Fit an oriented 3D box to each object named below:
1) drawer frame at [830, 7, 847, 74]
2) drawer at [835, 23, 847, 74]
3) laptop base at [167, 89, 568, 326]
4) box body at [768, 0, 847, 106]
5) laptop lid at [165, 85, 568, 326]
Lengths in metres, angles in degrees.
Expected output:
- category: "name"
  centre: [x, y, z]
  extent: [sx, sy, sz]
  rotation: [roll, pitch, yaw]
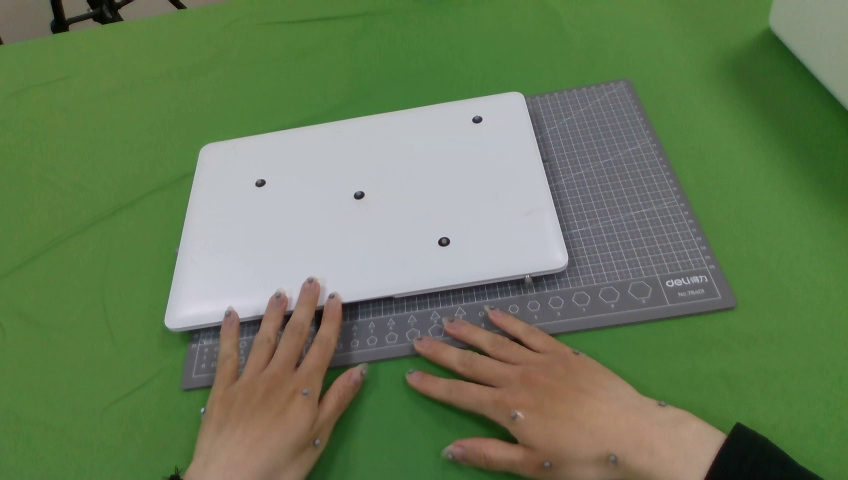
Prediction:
- category: "drawer frame"
  centre: [0.504, -0.142, 0.511]
  extent: [0.201, 0.083, 0.211]
  rotation: [-9, 50, 3]
- category: "drawer"
  centre: [0.504, -0.139, 0.513]
  extent: [0.194, 0.074, 0.209]
  rotation: [-11, 52, 6]
- category: "laptop base"
  centre: [-0.060, -0.039, 0.588]
  extent: [0.354, 0.023, 0.233]
  rotation: [-9, 54, 4]
- category: "box body"
  centre: [0.503, -0.191, 0.509]
  extent: [0.254, 0.162, 0.360]
  rotation: [-13, 51, 1]
- category: "laptop lid"
  centre: [-0.061, -0.045, 0.577]
  extent: [0.356, 0.013, 0.239]
  rotation: [-8, 53, 5]
